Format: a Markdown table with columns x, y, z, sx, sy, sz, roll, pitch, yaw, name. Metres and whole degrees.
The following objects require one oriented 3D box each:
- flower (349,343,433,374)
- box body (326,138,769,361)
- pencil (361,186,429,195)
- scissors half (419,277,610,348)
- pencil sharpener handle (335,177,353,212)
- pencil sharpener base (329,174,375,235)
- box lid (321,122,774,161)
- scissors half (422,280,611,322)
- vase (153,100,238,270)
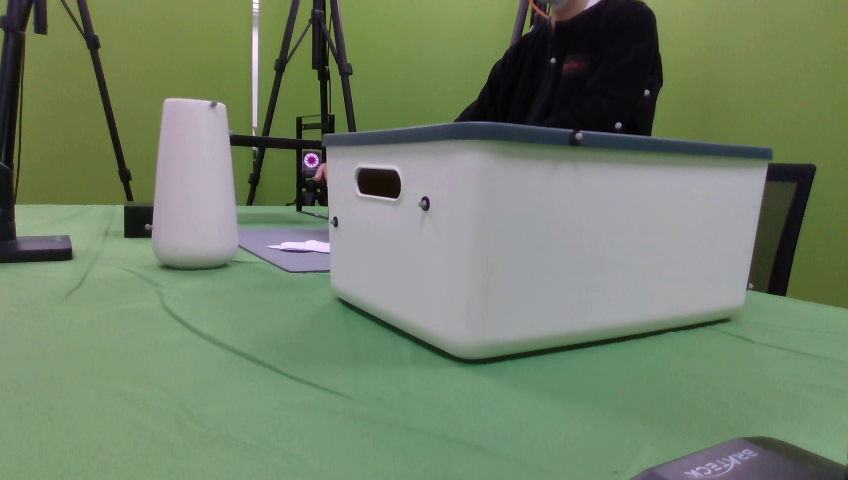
| x | y | z | sx | sy | sz | roll | pitch | yaw | name |
| --- | --- | --- | --- | --- | --- | --- | --- | --- | --- |
| 0.103 | 0.072 | 0.592 | 0.362 | 0.044 | 0.038 | -16 | 44 | -9 | flower |
| 0.112 | -0.010 | 0.583 | 0.366 | 0.160 | 0.253 | -2 | 9 | -33 | box body |
| -0.053 | -0.082 | 0.980 | 0.012 | 0.012 | 0.193 | -3 | 8 | -37 | pencil |
| 0.076 | 0.067 | 0.533 | 0.174 | 0.040 | 0.013 | 14 | 50 | 24 | scissors half |
| -0.157 | -0.087 | 1.162 | 0.036 | 0.068 | 0.030 | -14 | 15 | -27 | pencil sharpener handle |
| -0.136 | -0.067 | 1.118 | 0.062 | 0.107 | 0.076 | 0 | 8 | -30 | pencil sharpener base |
| 0.114 | -0.085 | 0.573 | 0.373 | 0.015 | 0.262 | -2 | 7 | -33 | box lid |
| 0.073 | 0.057 | 0.524 | 0.174 | 0.040 | 0.013 | 5 | 39 | 30 | scissors half |
| -0.278 | -0.066 | 0.736 | 0.098 | 0.200 | 0.098 | 2 | 9 | 0 | vase |
